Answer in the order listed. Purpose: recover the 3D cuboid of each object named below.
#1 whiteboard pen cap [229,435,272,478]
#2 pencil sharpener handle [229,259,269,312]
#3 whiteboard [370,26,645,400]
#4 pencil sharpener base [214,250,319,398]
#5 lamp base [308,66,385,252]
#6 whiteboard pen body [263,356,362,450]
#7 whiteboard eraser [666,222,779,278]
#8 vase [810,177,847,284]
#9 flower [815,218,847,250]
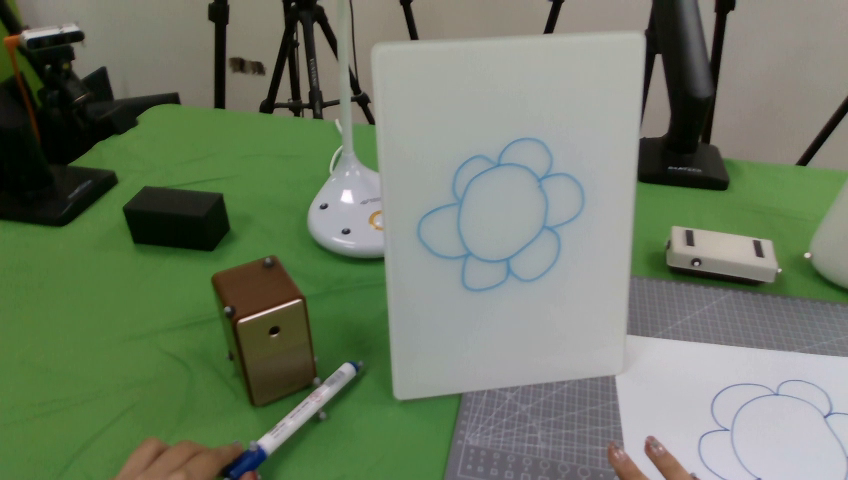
[{"bbox_3d":[-0.135,0.168,0.474,0.018,0.018,0.033,23,37,28],"label":"whiteboard pen cap"},{"bbox_3d":[-0.164,0.038,0.570,0.036,0.068,0.030,-26,43,-19],"label":"pencil sharpener handle"},{"bbox_3d":[0.067,-0.032,0.570,0.217,0.307,0.143,-5,18,-6],"label":"whiteboard"},{"bbox_3d":[-0.140,0.074,0.542,0.061,0.108,0.076,-20,40,-24],"label":"pencil sharpener base"},{"bbox_3d":[-0.072,-0.104,0.722,0.161,0.182,0.177,-23,40,-28],"label":"lamp base"},{"bbox_3d":[-0.102,0.144,0.518,0.017,0.017,0.140,22,38,27],"label":"whiteboard pen body"},{"bbox_3d":[0.334,0.013,0.684,0.112,0.042,0.055,8,35,12],"label":"whiteboard eraser"},{"bbox_3d":[0.489,-0.045,0.632,0.098,0.201,0.097,1,37,0],"label":"vase"},{"bbox_3d":[0.496,-0.101,0.570,0.044,0.364,0.038,-6,54,-19],"label":"flower"}]
